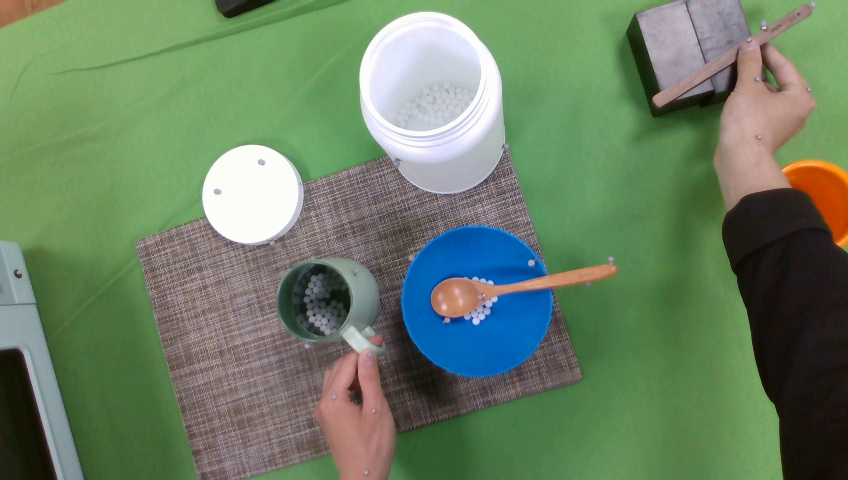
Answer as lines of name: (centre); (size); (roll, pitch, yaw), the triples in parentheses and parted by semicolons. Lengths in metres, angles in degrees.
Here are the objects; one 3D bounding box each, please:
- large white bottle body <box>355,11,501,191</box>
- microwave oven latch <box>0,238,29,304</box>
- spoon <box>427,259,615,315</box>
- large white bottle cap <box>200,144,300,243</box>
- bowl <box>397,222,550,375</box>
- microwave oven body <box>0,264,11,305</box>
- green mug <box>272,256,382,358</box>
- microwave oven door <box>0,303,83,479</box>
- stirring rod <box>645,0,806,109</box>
large white bottle body: (0.008, -0.128, 0.591); (0.130, 0.185, 0.130); (-1, 83, 8)
microwave oven latch: (-0.488, 0.038, 0.703); (0.030, 0.029, 0.079); (-19, 86, 5)
spoon: (0.090, 0.044, 0.597); (0.193, 0.022, 0.041); (-12, 87, 30)
large white bottle cap: (-0.201, -0.053, 0.697); (0.115, 0.018, 0.114); (-1, 86, 7)
bowl: (0.052, 0.059, 0.630); (0.151, 0.077, 0.151); (0, 87, 7)
microwave oven body: (-0.583, 0.247, 0.606); (0.326, 0.261, 0.440); (-19, 85, 5)
green mug: (-0.091, 0.073, 0.633); (0.092, 0.105, 0.125); (-45, 83, 2)
microwave oven door: (-0.433, 0.238, 0.584); (0.039, 0.244, 0.355); (-20, 85, 6)
stirring rod: (0.300, -0.185, 0.605); (0.176, 0.006, 0.014); (-33, 88, 6)
